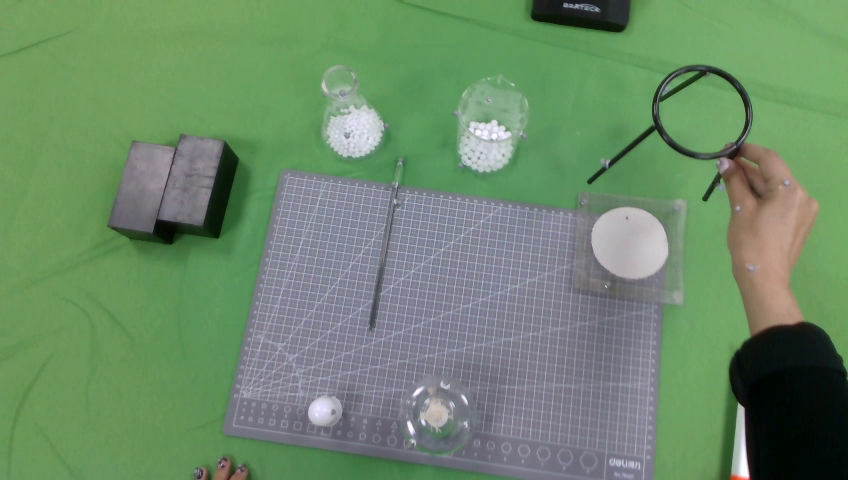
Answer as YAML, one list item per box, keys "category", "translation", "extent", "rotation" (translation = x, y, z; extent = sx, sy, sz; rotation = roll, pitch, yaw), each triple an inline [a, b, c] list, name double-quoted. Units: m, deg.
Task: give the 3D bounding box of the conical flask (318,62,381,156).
- category: "conical flask"
  translation: [-0.088, -0.147, 0.665]
  extent: [0.075, 0.122, 0.075]
  rotation: [0, 75, 0]

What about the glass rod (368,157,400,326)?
- category: "glass rod"
  translation: [-0.045, -0.001, 0.684]
  extent: [0.008, 0.008, 0.198]
  rotation: [8, 76, 1]

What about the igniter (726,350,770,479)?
- category: "igniter"
  translation: [0.323, 0.250, 0.619]
  extent: [0.057, 0.025, 0.275]
  rotation: [15, 76, -8]

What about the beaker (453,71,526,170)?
- category: "beaker"
  translation: [0.070, -0.129, 0.673]
  extent: [0.074, 0.101, 0.083]
  rotation: [11, 75, 2]

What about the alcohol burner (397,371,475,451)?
- category: "alcohol burner"
  translation: [0.011, 0.167, 0.590]
  extent: [0.078, 0.119, 0.077]
  rotation: [0, 78, 1]

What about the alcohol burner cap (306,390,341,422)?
- category: "alcohol burner cap"
  translation: [-0.105, 0.172, 0.625]
  extent: [0.034, 0.048, 0.033]
  rotation: [0, 76, 0]

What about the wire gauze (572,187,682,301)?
- category: "wire gauze"
  translation: [0.231, 0.002, 0.686]
  extent: [0.125, 0.011, 0.121]
  rotation: [8, 76, 2]

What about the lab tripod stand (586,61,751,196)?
- category: "lab tripod stand"
  translation: [0.245, -0.104, 0.604]
  extent: [0.148, 0.132, 0.148]
  rotation: [0, 81, 1]
